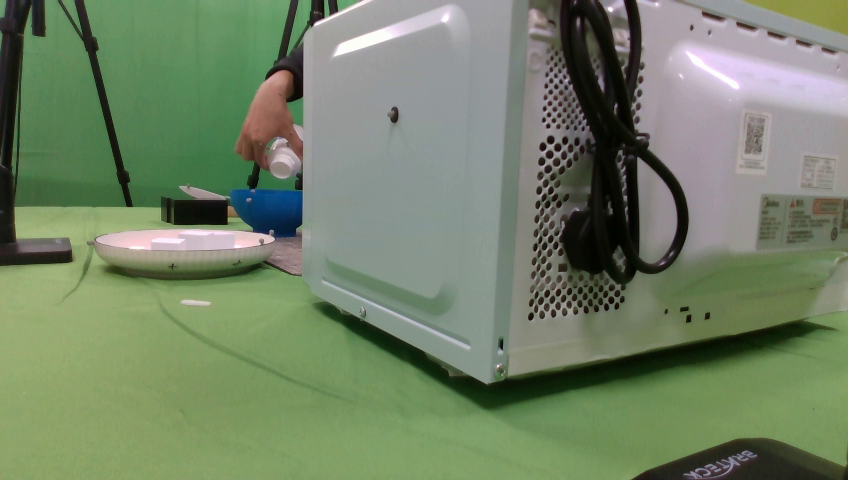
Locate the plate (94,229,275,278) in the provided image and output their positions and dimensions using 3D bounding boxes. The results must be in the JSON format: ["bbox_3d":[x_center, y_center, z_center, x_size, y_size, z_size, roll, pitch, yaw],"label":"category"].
[{"bbox_3d":[-0.291,0.016,0.749,0.208,0.039,0.207,2,7,0],"label":"plate"}]

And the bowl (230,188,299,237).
[{"bbox_3d":[-0.265,-0.048,1.065,0.151,0.077,0.151,3,8,0],"label":"bowl"}]

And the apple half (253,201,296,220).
[{"bbox_3d":[-0.264,-0.053,1.067,0.081,0.033,0.081,2,9,0],"label":"apple half"}]

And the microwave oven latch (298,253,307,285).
[{"bbox_3d":[-0.081,0.027,0.582,0.079,0.029,0.030,-2,7,-33],"label":"microwave oven latch"}]

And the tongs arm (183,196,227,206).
[{"bbox_3d":[-0.404,-0.081,1.479,0.385,0.026,0.050,3,8,-2],"label":"tongs arm"}]

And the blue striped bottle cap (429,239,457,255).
[{"bbox_3d":[0.029,0.011,0.945,0.044,0.020,0.044,1,6,0],"label":"blue striped bottle cap"}]

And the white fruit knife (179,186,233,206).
[{"bbox_3d":[-0.413,-0.081,1.270,0.208,0.027,0.016,17,13,-41],"label":"white fruit knife"}]

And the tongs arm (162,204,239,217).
[{"bbox_3d":[-0.396,-0.066,1.399,0.389,0.028,0.028,1,5,-15],"label":"tongs arm"}]

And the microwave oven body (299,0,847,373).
[{"bbox_3d":[0.151,-0.055,0.542,0.444,0.260,0.324,-2,7,-33],"label":"microwave oven body"}]

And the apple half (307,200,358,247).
[{"bbox_3d":[-0.135,-0.024,0.941,0.053,0.074,0.081,13,9,39],"label":"apple half"}]

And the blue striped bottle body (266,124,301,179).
[{"bbox_3d":[-0.260,-0.165,1.145,0.063,0.063,0.120,3,40,0],"label":"blue striped bottle body"}]

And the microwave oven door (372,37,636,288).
[{"bbox_3d":[0.110,-0.080,0.686,0.358,0.243,0.039,-2,9,-33],"label":"microwave oven door"}]
